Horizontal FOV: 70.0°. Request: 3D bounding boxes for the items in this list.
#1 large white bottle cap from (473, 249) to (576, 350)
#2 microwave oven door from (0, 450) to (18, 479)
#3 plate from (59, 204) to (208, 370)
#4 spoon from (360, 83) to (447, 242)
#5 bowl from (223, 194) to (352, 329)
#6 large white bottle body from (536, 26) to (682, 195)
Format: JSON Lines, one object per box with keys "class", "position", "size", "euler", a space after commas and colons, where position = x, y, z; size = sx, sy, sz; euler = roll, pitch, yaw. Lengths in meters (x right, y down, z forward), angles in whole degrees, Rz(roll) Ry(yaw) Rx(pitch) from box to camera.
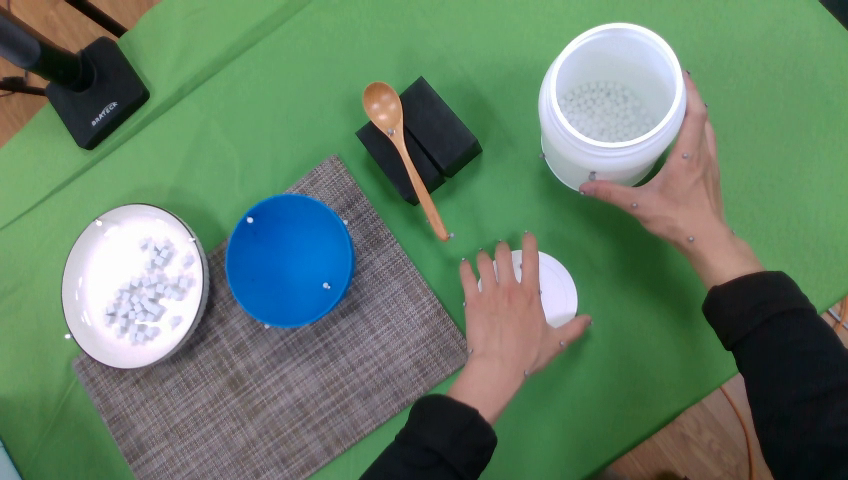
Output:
{"class": "large white bottle cap", "position": [0.113, 0.068, 0.684], "size": [0.114, 0.018, 0.114], "euler": [-1, 86, 11]}
{"class": "microwave oven door", "position": [-0.486, 0.406, 0.648], "size": [0.039, 0.245, 0.354], "euler": [-39, 79, 6]}
{"class": "plate", "position": [-0.363, 0.060, 0.769], "size": [0.208, 0.038, 0.208], "euler": [-2, 83, 13]}
{"class": "spoon", "position": [-0.021, -0.085, 0.676], "size": [0.041, 0.021, 0.193], "euler": [-24, 86, 4]}
{"class": "bowl", "position": [-0.146, 0.026, 0.706], "size": [0.151, 0.077, 0.151], "euler": [-1, 86, 12]}
{"class": "large white bottle body", "position": [0.178, -0.122, 0.600], "size": [0.130, 0.185, 0.130], "euler": [-1, 85, 12]}
